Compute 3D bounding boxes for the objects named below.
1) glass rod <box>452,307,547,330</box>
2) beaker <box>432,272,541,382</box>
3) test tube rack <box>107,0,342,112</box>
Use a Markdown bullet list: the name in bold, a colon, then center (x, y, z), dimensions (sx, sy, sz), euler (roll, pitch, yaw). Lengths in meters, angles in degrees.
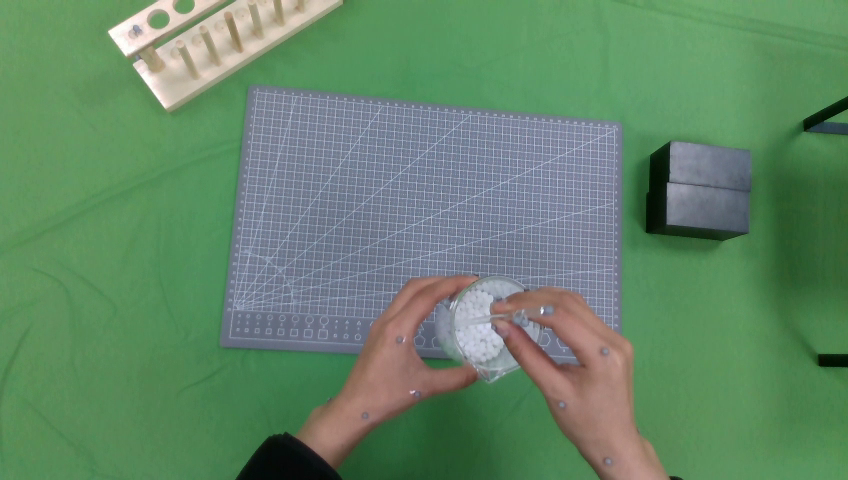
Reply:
- **glass rod**: center (0.048, 0.060, 0.450), dimensions (0.008, 0.200, 0.008), euler (2, 79, -12)
- **beaker**: center (0.047, 0.074, 0.510), dimensions (0.074, 0.100, 0.083), euler (9, 80, -6)
- **test tube rack**: center (-0.209, -0.248, 0.671), dimensions (0.242, 0.085, 0.066), euler (-37, 86, -11)
